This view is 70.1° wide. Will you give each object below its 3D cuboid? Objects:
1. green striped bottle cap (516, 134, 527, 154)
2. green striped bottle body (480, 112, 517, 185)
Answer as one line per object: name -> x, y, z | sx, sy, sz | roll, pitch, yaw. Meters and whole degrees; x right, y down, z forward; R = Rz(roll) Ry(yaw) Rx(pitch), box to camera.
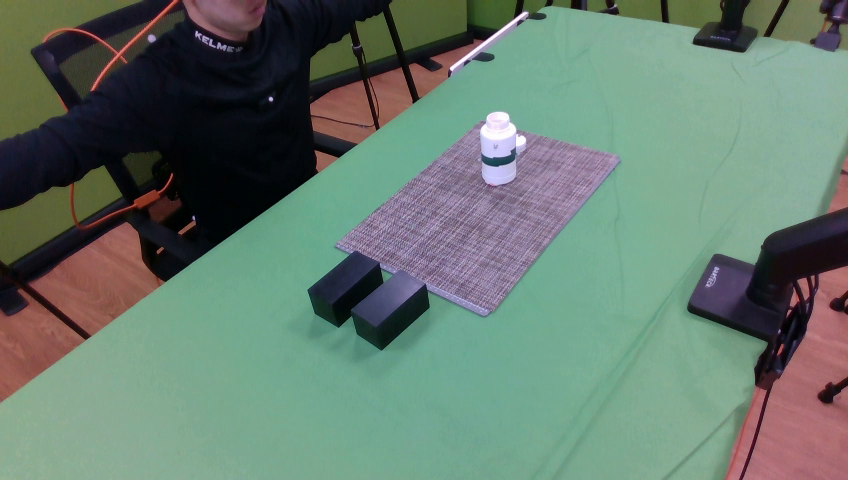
green striped bottle cap -> 0.175, -0.183, 1.158 | 0.044, 0.020, 0.044 | -5, 43, 5
green striped bottle body -> 0.130, -0.162, 1.057 | 0.063, 0.120, 0.063 | -4, 40, 4
